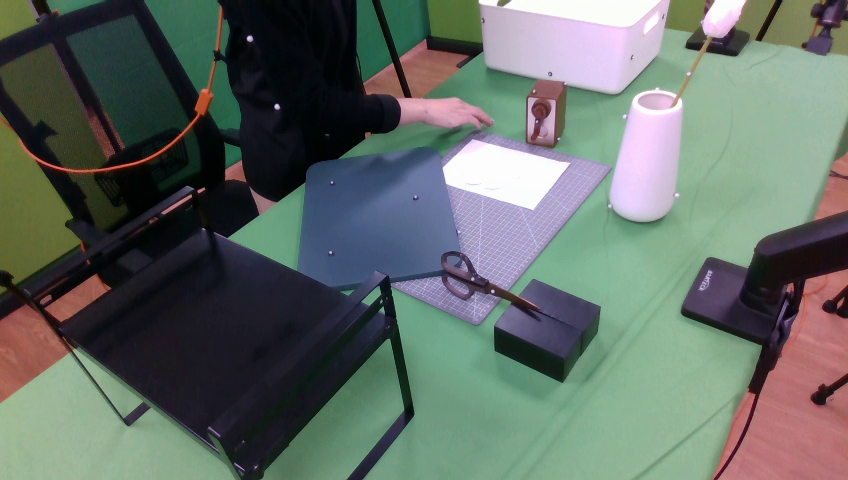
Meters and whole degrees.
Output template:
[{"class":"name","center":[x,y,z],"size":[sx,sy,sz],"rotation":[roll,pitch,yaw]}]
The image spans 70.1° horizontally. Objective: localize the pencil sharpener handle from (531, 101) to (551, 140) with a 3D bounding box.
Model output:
[{"class":"pencil sharpener handle","center":[0.211,-0.220,1.118],"size":[0.036,0.068,0.030],"rotation":[17,46,17]}]

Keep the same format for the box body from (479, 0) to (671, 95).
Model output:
[{"class":"box body","center":[0.339,-0.480,1.381],"size":[0.361,0.161,0.255],"rotation":[22,48,30]}]

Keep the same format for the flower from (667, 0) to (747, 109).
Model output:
[{"class":"flower","center":[0.354,-0.187,0.879],"size":[0.038,0.362,0.044],"rotation":[31,48,14]}]

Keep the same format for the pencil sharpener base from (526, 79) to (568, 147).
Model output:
[{"class":"pencil sharpener base","center":[0.235,-0.242,1.160],"size":[0.061,0.107,0.077],"rotation":[12,45,21]}]

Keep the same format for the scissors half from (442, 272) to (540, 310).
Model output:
[{"class":"scissors half","center":[0.089,0.074,0.832],"size":[0.013,0.040,0.173],"rotation":[-24,23,-38]}]

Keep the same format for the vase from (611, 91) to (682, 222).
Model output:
[{"class":"vase","center":[0.348,-0.125,0.935],"size":[0.098,0.201,0.097],"rotation":[-3,40,3]}]

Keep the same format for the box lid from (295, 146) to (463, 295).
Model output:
[{"class":"box lid","center":[-0.084,-0.048,1.052],"size":[0.263,0.015,0.369],"rotation":[-9,40,0]}]

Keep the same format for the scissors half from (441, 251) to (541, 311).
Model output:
[{"class":"scissors half","center":[0.087,0.056,0.824],"size":[0.173,0.040,0.013],"rotation":[29,44,36]}]
